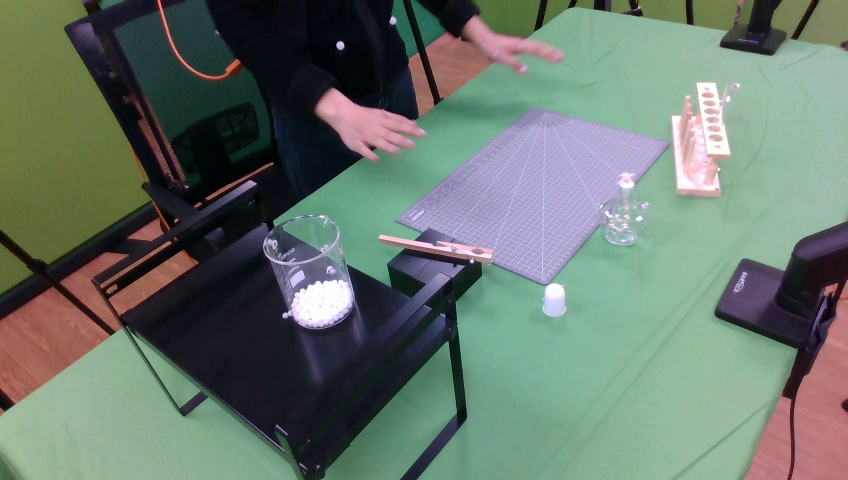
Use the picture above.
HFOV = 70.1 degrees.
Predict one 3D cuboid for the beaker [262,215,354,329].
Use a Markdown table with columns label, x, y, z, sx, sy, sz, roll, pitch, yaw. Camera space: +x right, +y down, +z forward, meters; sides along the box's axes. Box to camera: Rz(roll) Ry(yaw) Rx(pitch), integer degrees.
| label | x | y | z | sx | sy | sz | roll | pitch | yaw |
| --- | --- | --- | --- | --- | --- | --- | --- | --- | --- |
| beaker | -0.112 | 0.034 | 0.616 | 0.073 | 0.101 | 0.084 | 13 | 44 | 23 |

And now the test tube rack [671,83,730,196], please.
| label | x | y | z | sx | sy | sz | roll | pitch | yaw |
| --- | --- | --- | --- | --- | --- | --- | --- | --- | --- |
| test tube rack | 0.482 | -0.184 | 1.067 | 0.066 | 0.085 | 0.242 | 5 | 42 | 15 |

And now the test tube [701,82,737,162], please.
| label | x | y | z | sx | sy | sz | roll | pitch | yaw |
| --- | --- | --- | --- | --- | --- | --- | --- | --- | --- |
| test tube | 0.485 | -0.190 | 0.997 | 0.017 | 0.151 | 0.017 | -1 | 44 | 2 |

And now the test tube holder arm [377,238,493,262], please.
| label | x | y | z | sx | sy | sz | roll | pitch | yaw |
| --- | --- | --- | --- | --- | --- | --- | --- | --- | --- |
| test tube holder arm | 0.014 | 0.014 | 0.888 | 0.177 | 0.015 | 0.013 | 6 | 44 | 17 |

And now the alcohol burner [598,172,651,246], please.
| label | x | y | z | sx | sy | sz | roll | pitch | yaw |
| --- | --- | --- | --- | --- | --- | --- | --- | --- | --- |
| alcohol burner | 0.306 | -0.051 | 0.918 | 0.078 | 0.119 | 0.077 | -5 | 41 | 5 |

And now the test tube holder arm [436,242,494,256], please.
| label | x | y | z | sx | sy | sz | roll | pitch | yaw |
| --- | --- | --- | --- | --- | --- | --- | --- | --- | --- |
| test tube holder arm | 0.058 | 0.015 | 0.878 | 0.087 | 0.015 | 0.010 | 7 | 45 | 19 |

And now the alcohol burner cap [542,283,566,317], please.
| label | x | y | z | sx | sy | sz | roll | pitch | yaw |
| --- | --- | --- | --- | --- | --- | --- | --- | --- | --- |
| alcohol burner cap | 0.181 | 0.080 | 0.839 | 0.034 | 0.048 | 0.033 | -4 | 40 | 4 |
